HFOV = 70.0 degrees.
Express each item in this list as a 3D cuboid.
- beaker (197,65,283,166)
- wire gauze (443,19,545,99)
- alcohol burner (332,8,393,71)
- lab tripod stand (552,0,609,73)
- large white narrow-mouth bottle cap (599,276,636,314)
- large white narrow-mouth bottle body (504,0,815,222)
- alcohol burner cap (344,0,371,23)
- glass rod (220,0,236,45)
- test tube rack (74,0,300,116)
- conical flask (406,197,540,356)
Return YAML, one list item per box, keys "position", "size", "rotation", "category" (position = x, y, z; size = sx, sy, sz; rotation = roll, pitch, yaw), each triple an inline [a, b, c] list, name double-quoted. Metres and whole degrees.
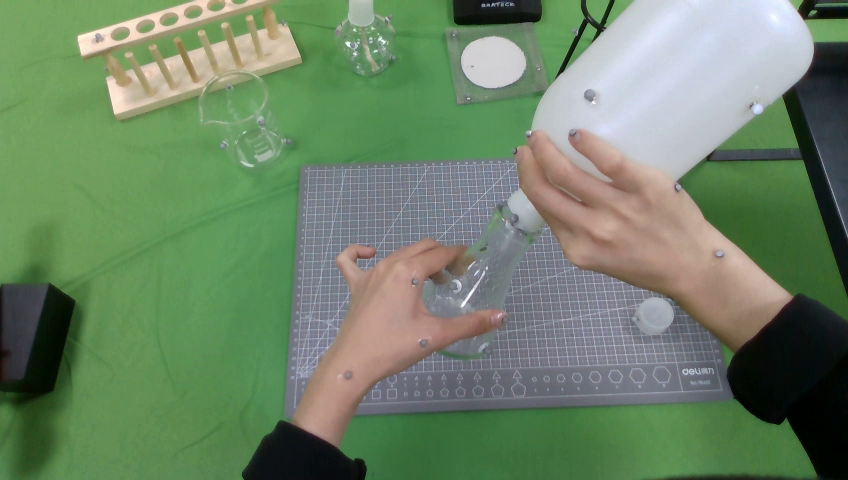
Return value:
- position: [-0.210, -0.138, 0.700]
  size: [0.084, 0.101, 0.073]
  rotation: [-42, 70, -17]
  category: "beaker"
- position: [0.091, -0.243, 0.797]
  size: [0.121, 0.011, 0.124]
  rotation: [-6, 65, -4]
  category: "wire gauze"
- position: [-0.078, -0.270, 0.754]
  size: [0.078, 0.120, 0.077]
  rotation: [0, 62, 0]
  category: "alcohol burner"
- position: [0.219, -0.236, 0.723]
  size: [0.148, 0.132, 0.147]
  rotation: [1, 64, -1]
  category: "lab tripod stand"
- position: [0.206, 0.059, 0.647]
  size: [0.038, 0.024, 0.037]
  rotation: [-1, 64, 3]
  category: "large white narrow-mouth bottle cap"
- position: [0.130, -0.083, 0.388]
  size: [0.195, 0.102, 0.101]
  rotation: [-43, 65, 24]
  category: "large white narrow-mouth bottle body"
- position: [-0.078, -0.288, 0.722]
  size: [0.034, 0.048, 0.033]
  rotation: [4, 63, -7]
  category: "alcohol burner cap"
- position: [-0.243, -0.305, 0.713]
  size: [0.008, 0.201, 0.008]
  rotation: [2, 63, -3]
  category: "glass rod"
- position: [-0.289, -0.243, 0.758]
  size: [0.242, 0.086, 0.066]
  rotation: [-20, 66, -9]
  category: "test tube rack"
- position: [0.041, 0.025, 0.459]
  size: [0.075, 0.122, 0.074]
  rotation: [20, 35, -14]
  category: "conical flask"
